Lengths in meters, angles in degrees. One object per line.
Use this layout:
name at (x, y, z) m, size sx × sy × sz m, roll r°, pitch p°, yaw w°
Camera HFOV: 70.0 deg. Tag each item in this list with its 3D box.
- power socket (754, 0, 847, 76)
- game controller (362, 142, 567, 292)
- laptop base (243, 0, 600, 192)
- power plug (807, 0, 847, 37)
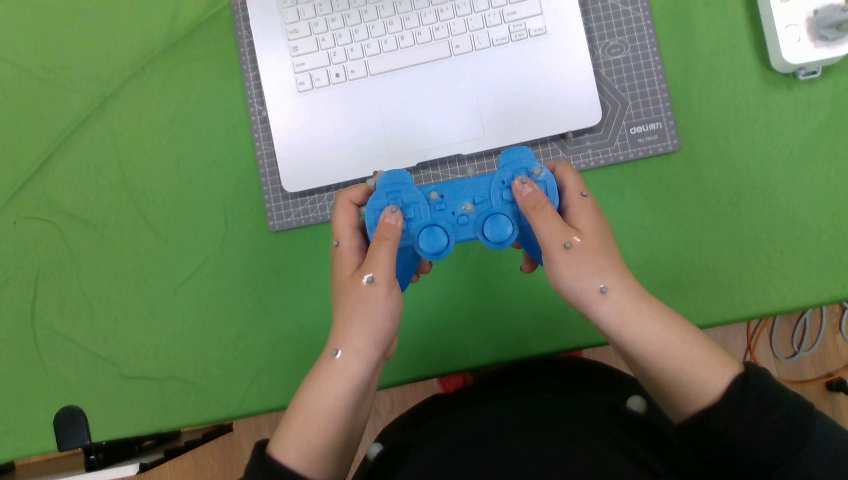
power socket at (0.371, -0.282, 0.615) m, size 0.072 × 0.032 × 0.226 m, roll -10°, pitch 86°, yaw 7°
game controller at (0.028, -0.017, 0.458) m, size 0.155 × 0.051 × 0.097 m, roll -10°, pitch 94°, yaw 3°
laptop base at (-0.009, -0.201, 0.660) m, size 0.354 × 0.023 × 0.235 m, roll -12°, pitch 89°, yaw 5°
power plug at (0.411, -0.215, 0.587) m, size 0.072 × 0.053 × 0.035 m, roll 2°, pitch 86°, yaw 3°
